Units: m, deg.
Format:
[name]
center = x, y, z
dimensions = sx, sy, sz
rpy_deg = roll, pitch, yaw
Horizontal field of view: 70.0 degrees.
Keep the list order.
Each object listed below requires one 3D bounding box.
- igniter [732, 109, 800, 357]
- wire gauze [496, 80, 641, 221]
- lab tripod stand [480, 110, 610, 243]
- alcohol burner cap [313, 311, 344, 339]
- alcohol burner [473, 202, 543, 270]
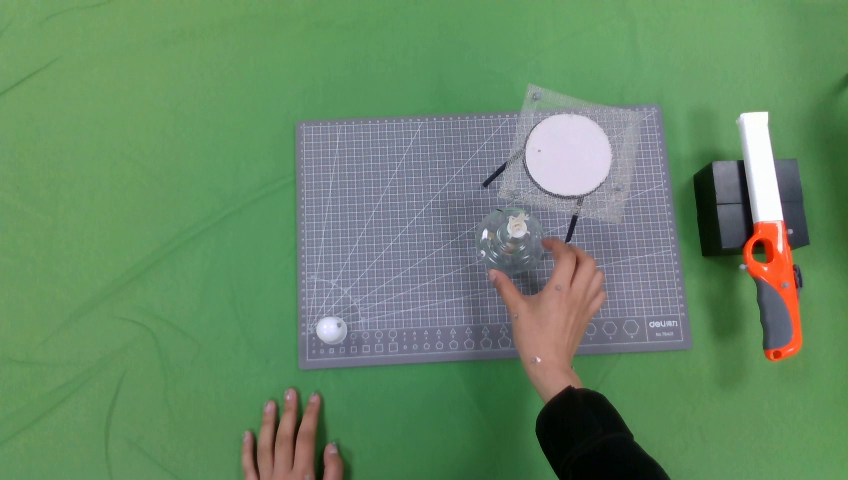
[igniter]
center = 0.373, -0.011, 0.666
dimensions = 0.057, 0.025, 0.275
rpy_deg = -2, 79, 4
[wire gauze]
center = 0.145, -0.089, 0.598
dimensions = 0.121, 0.011, 0.124
rpy_deg = 16, 79, 2
[lab tripod stand]
center = 0.141, -0.078, 0.664
dimensions = 0.148, 0.132, 0.147
rpy_deg = 0, 77, 0
[alcohol burner cap]
center = -0.108, 0.093, 0.674
dimensions = 0.034, 0.048, 0.033
rpy_deg = 0, 79, -2
[alcohol burner]
center = 0.093, -0.007, 0.660
dimensions = 0.078, 0.119, 0.077
rpy_deg = 0, 80, 1
